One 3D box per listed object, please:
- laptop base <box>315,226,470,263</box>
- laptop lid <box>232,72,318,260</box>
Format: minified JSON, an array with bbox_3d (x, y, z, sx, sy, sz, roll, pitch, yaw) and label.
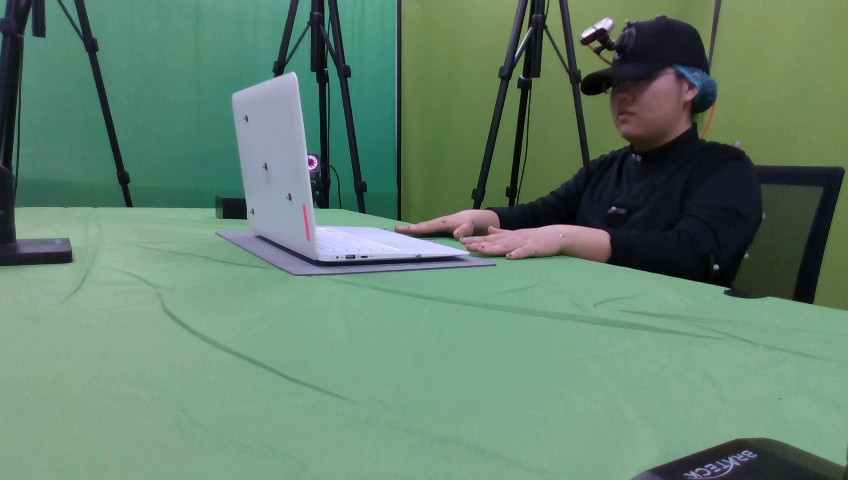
[{"bbox_3d":[-0.117,0.005,0.970,0.237,0.023,0.352,2,6,-30],"label":"laptop base"},{"bbox_3d":[-0.229,-0.109,0.888,0.013,0.241,0.355,-10,14,-28],"label":"laptop lid"}]
